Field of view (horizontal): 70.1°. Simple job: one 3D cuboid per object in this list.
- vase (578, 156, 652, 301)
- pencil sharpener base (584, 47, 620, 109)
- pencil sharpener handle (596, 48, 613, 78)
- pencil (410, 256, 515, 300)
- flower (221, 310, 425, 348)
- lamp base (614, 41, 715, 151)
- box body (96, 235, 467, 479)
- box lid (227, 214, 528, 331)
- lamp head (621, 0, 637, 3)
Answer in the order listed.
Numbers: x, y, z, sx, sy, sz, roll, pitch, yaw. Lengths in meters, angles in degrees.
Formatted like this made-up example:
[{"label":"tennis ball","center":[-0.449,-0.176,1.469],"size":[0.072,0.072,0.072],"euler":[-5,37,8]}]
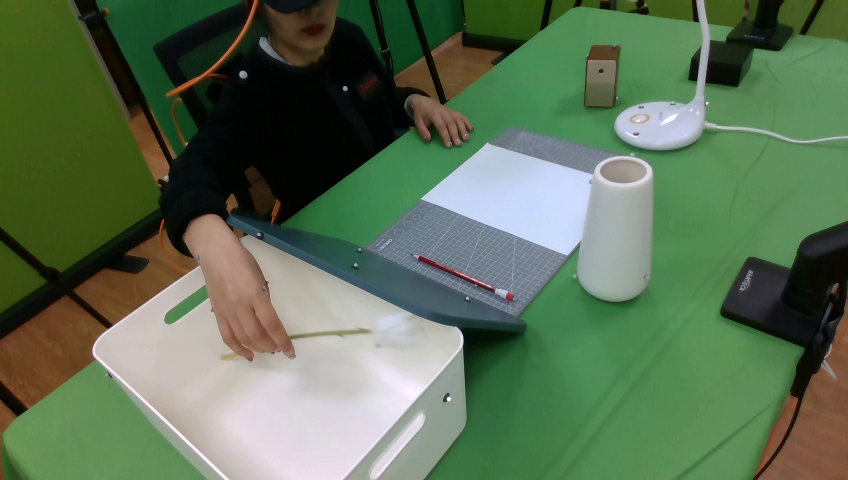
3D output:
[{"label":"vase","center":[0.261,-0.011,0.812],"size":[0.098,0.201,0.097],"euler":[-4,40,4]},{"label":"pencil sharpener base","center":[0.367,-0.336,1.248],"size":[0.061,0.107,0.076],"euler":[6,42,19]},{"label":"pencil sharpener handle","center":[0.383,-0.378,1.276],"size":[0.036,0.068,0.030],"euler":[3,41,21]},{"label":"pencil","center":[0.054,0.054,0.918],"size":[0.192,0.012,0.012],"euler":[21,48,33]},{"label":"flower","center":[-0.145,0.117,0.729],"size":[0.359,0.044,0.038],"euler":[-11,50,38]},{"label":"lamp base","center":[0.449,-0.277,1.106],"size":[0.179,0.181,0.160],"euler":[1,41,9]},{"label":"box body","center":[-0.155,0.169,0.707],"size":[0.361,0.161,0.255],"euler":[23,49,33]},{"label":"box lid","center":[-0.062,0.044,0.813],"size":[0.368,0.265,0.015],"euler":[22,93,32]},{"label":"lamp head","center":[0.319,-0.453,0.962],"size":[0.113,0.123,0.112],"euler":[20,33,-13]}]
